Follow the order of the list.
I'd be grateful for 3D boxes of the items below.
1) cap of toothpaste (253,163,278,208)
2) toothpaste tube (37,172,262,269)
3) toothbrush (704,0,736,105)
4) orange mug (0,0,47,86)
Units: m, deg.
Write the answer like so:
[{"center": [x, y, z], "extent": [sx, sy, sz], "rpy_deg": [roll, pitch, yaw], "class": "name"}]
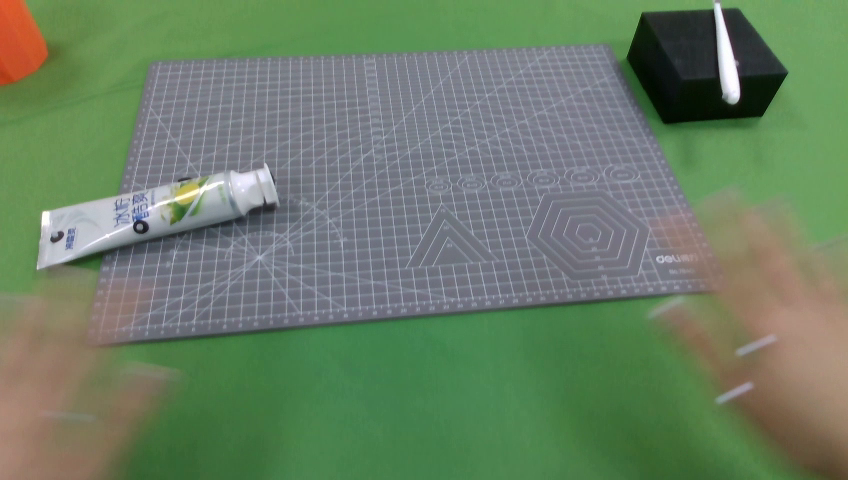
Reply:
[{"center": [-0.121, -0.041, 0.460], "extent": [0.011, 0.037, 0.037], "rpy_deg": [-20, 56, -18], "class": "cap of toothpaste"}, {"center": [-0.199, -0.022, 0.449], "extent": [0.165, 0.035, 0.054], "rpy_deg": [-14, 50, -9], "class": "toothpaste tube"}, {"center": [0.267, -0.184, 0.548], "extent": [0.014, 0.017, 0.180], "rpy_deg": [12, 54, 3], "class": "toothbrush"}, {"center": [-0.409, -0.187, 0.521], "extent": [0.083, 0.101, 0.126], "rpy_deg": [29, 52, 18], "class": "orange mug"}]
